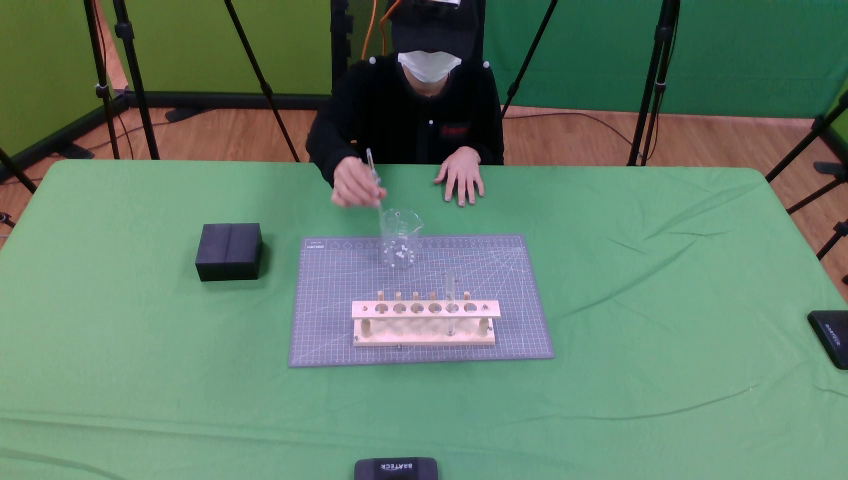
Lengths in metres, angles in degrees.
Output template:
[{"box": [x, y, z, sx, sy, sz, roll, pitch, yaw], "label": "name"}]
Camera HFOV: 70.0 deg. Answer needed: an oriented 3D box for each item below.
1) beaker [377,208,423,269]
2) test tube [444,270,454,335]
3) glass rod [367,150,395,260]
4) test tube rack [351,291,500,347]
[{"box": [-0.046, 0.000, 1.138, 0.084, 0.101, 0.073, 3, 46, -3], "label": "beaker"}, {"box": [0.041, 0.105, 0.983, 0.017, 0.151, 0.017, -1, 44, 1], "label": "test tube"}, {"box": [-0.064, -0.048, 0.928, 0.008, 0.201, 0.008, -7, 36, 5], "label": "glass rod"}, {"box": [0.000, 0.129, 1.026, 0.242, 0.085, 0.066, 0, 46, -4], "label": "test tube rack"}]
